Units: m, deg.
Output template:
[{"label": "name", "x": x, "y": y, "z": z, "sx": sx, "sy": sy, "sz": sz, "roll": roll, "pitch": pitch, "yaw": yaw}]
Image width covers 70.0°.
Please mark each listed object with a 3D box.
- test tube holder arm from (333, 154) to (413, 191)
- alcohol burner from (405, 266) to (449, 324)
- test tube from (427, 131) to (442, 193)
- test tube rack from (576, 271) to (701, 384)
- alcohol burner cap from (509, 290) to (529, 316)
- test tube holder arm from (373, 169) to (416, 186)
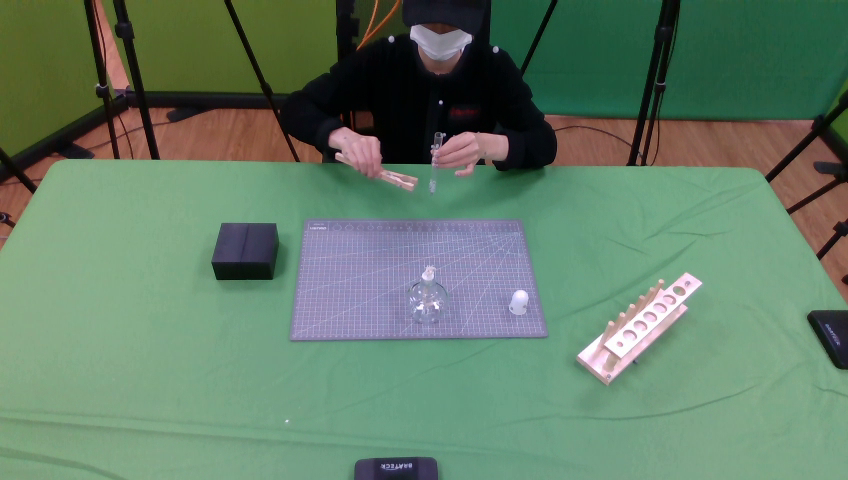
[{"label": "test tube holder arm", "x": -0.102, "y": -0.135, "z": 1.196, "sx": 0.178, "sy": 0.015, "sz": 0.013, "roll": 21, "pitch": 39, "yaw": 13}, {"label": "alcohol burner", "x": 0.005, "y": 0.089, "z": 1.043, "sx": 0.078, "sy": 0.120, "sz": 0.077, "roll": 1, "pitch": 45, "yaw": -1}, {"label": "test tube", "x": 0.019, "y": -0.145, "z": 1.151, "sx": 0.017, "sy": 0.151, "sz": 0.017, "roll": 3, "pitch": 50, "yaw": -4}, {"label": "test tube rack", "x": 0.373, "y": 0.138, "z": 1.047, "sx": 0.242, "sy": 0.085, "sz": 0.066, "roll": -31, "pitch": 56, "yaw": -29}, {"label": "alcohol burner cap", "x": 0.171, "y": 0.110, "z": 1.086, "sx": 0.034, "sy": 0.048, "sz": 0.033, "roll": 2, "pitch": 45, "yaw": -2}, {"label": "test tube holder arm", "x": -0.059, "y": -0.124, "z": 1.193, "sx": 0.088, "sy": 0.015, "sz": 0.010, "roll": 14, "pitch": 38, "yaw": 4}]
